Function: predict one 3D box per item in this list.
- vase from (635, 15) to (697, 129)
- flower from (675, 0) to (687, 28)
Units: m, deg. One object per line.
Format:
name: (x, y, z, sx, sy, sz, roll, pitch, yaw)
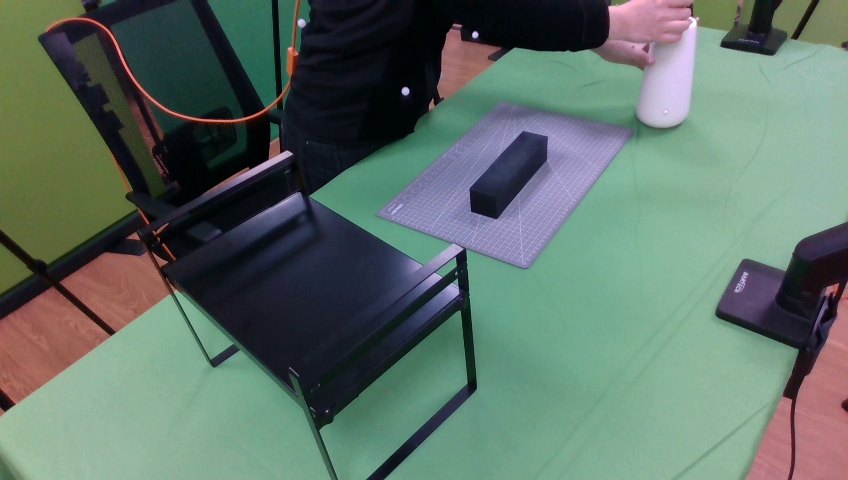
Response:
vase: (0.457, -0.310, 1.133, 0.098, 0.201, 0.097, -4, 42, 4)
flower: (0.436, -0.385, 1.021, 0.038, 0.363, 0.044, -43, 65, -12)
